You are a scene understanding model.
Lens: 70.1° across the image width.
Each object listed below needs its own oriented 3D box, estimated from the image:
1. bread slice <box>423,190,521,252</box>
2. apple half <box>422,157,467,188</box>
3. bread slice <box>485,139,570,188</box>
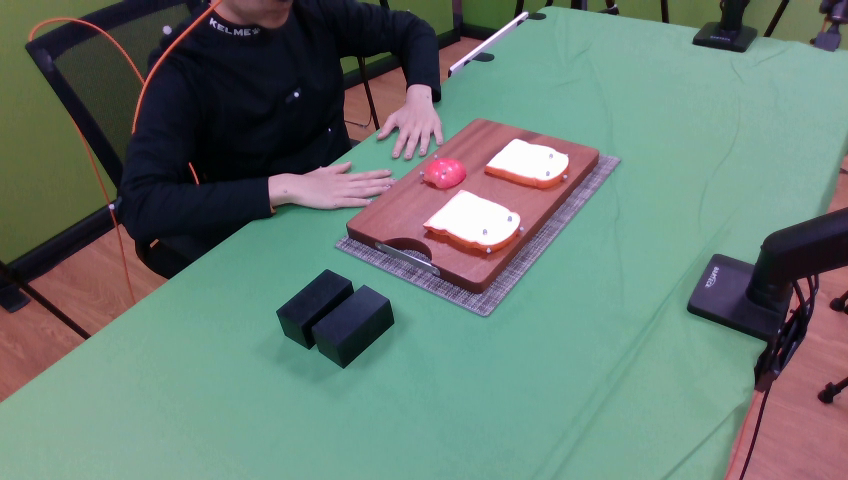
[{"bbox_3d":[0.083,-0.029,0.949,0.133,0.018,0.107,21,48,28],"label":"bread slice"},{"bbox_3d":[0.035,-0.128,1.061,0.081,0.033,0.081,-6,41,6],"label":"apple half"},{"bbox_3d":[0.189,-0.135,1.059,0.130,0.019,0.105,22,49,30],"label":"bread slice"}]
